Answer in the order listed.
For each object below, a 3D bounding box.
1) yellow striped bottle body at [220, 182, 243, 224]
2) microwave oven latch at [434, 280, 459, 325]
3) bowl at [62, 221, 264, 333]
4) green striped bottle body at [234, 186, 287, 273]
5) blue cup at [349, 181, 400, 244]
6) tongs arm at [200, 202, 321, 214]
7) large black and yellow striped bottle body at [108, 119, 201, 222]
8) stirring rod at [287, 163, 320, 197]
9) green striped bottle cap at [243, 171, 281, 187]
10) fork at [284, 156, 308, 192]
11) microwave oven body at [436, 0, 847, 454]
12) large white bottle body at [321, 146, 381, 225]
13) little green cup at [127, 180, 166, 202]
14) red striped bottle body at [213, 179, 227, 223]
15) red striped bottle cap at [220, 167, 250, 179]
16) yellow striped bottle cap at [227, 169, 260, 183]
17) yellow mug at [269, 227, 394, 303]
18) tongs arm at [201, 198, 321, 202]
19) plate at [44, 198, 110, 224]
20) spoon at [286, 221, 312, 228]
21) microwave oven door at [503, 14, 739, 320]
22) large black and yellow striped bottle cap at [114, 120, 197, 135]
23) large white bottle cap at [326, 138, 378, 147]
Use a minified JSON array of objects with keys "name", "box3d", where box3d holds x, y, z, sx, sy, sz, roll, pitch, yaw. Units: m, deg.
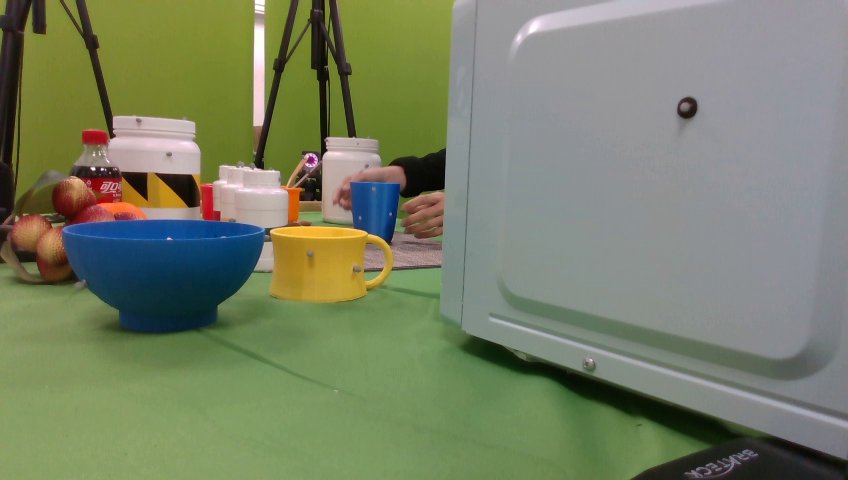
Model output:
[{"name":"yellow striped bottle body","box3d":[-0.246,-0.036,0.825,0.063,0.120,0.063,3,8,0]},{"name":"microwave oven latch","box3d":[0.044,0.045,0.470,0.079,0.029,0.030,-2,8,-39]},{"name":"bowl","box3d":[-0.209,0.029,0.496,0.151,0.077,0.151,2,7,0]},{"name":"green striped bottle body","box3d":[-0.201,-0.023,0.743,0.063,0.119,0.063,2,7,0]},{"name":"blue cup","box3d":[-0.083,-0.046,1.012,0.093,0.100,0.092,2,7,0]},{"name":"tongs arm","box3d":[-0.378,-0.079,1.440,0.387,0.026,0.050,-4,8,-44]},{"name":"large black and yellow striped bottle body","box3d":[-0.412,-0.088,0.930,0.131,0.184,0.130,3,7,0]},{"name":"stirring rod","box3d":[-0.283,-0.107,1.298,0.014,0.006,0.176,10,53,51]},{"name":"green striped bottle cap","box3d":[-0.198,-0.074,0.736,0.044,0.020,0.044,1,7,0]},{"name":"fork","box3d":[-0.295,-0.116,1.323,0.028,0.019,0.207,1,50,21]},{"name":"microwave oven body","box3d":[0.279,-0.040,0.465,0.444,0.260,0.324,-3,9,-41]},{"name":"large white bottle body","box3d":[-0.162,-0.131,1.341,0.131,0.184,0.130,2,8,0]},{"name":"little green cup","box3d":[-0.486,-0.086,1.061,0.061,0.038,0.061,1,7,0]},{"name":"red striped bottle body","box3d":[-0.284,-0.048,0.910,0.063,0.119,0.063,3,12,0]},{"name":"red striped bottle cap","box3d":[-0.281,-0.100,0.901,0.044,0.017,0.044,-1,5,0]},{"name":"yellow striped bottle cap","box3d":[-0.243,-0.086,0.818,0.044,0.018,0.044,3,6,0]},{"name":"yellow mug","box3d":[-0.094,0.023,0.629,0.131,0.064,0.099,0,7,-22]},{"name":"tongs arm","box3d":[-0.433,-0.090,1.508,0.390,0.028,0.028,-1,2,-29]},{"name":"plate","box3d":[-0.617,-0.056,1.179,0.209,0.038,0.209,3,7,0]},{"name":"spoon","box3d":[-0.232,-0.027,1.116,0.041,0.021,0.193,-22,6,4]},{"name":"microwave oven door","box3d":[0.218,-0.065,0.600,0.358,0.243,0.039,-4,10,-41]},{"name":"large black and yellow striped bottle cap","box3d":[-0.407,-0.171,0.920,0.115,0.019,0.115,2,9,0]},{"name":"large white bottle cap","box3d":[-0.158,-0.214,1.329,0.115,0.018,0.115,2,8,0]}]
